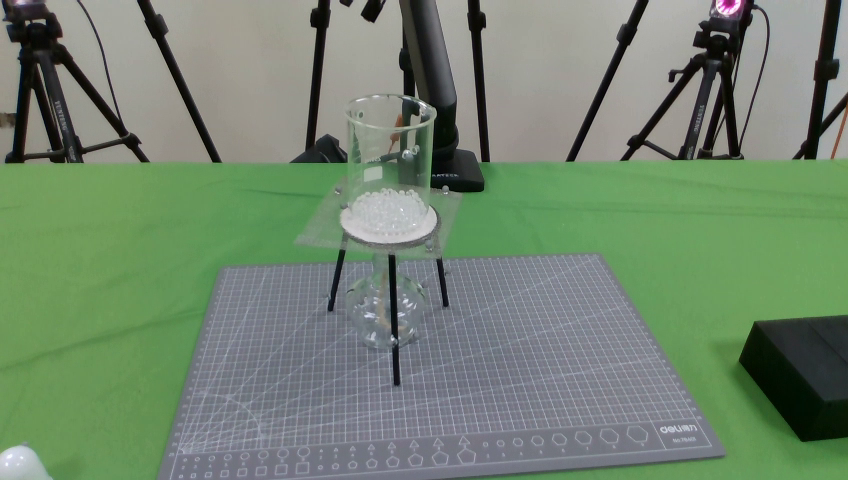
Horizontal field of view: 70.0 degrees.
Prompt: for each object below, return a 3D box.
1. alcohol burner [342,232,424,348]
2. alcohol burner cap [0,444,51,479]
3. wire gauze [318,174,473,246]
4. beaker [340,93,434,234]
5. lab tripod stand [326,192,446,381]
[{"bbox_3d":[-0.038,0.043,0.573,0.078,0.120,0.077,3,32,-2],"label":"alcohol burner"},{"bbox_3d":[-0.291,0.167,0.433,0.034,0.048,0.033,3,32,-2],"label":"alcohol burner cap"},{"bbox_3d":[-0.027,-0.030,0.518,0.125,0.011,0.120,2,30,-11],"label":"wire gauze"},{"bbox_3d":[-0.028,-0.064,0.509,0.084,0.101,0.073,-25,43,-36],"label":"beaker"},{"bbox_3d":[-0.031,0.035,0.568,0.148,0.132,0.147,3,34,-2],"label":"lab tripod stand"}]
